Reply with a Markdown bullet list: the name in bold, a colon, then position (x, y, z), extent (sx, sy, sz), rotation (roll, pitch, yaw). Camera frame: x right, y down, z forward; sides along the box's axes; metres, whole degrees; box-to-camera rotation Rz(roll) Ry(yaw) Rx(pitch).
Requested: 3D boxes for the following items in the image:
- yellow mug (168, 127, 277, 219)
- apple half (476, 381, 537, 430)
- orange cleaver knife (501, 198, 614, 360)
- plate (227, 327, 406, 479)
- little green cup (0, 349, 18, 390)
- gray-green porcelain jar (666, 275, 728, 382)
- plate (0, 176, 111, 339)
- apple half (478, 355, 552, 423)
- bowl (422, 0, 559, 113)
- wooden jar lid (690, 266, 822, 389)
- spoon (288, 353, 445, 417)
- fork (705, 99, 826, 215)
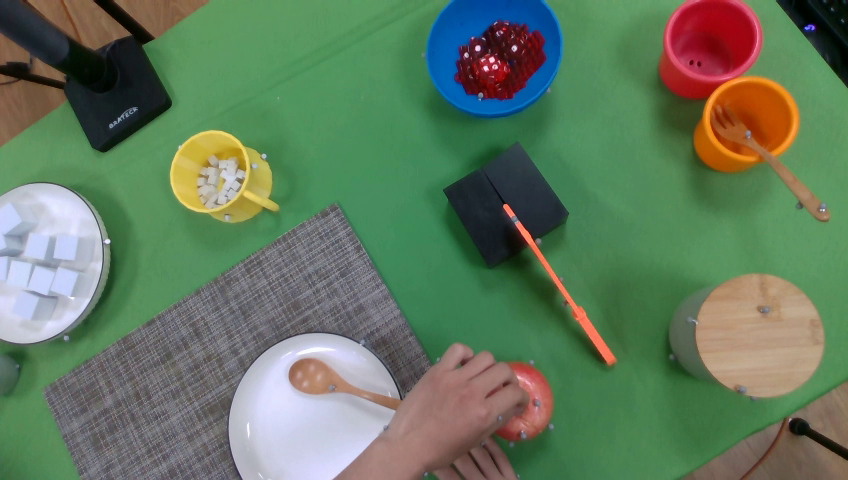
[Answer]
- **yellow mug**: position (-0.235, -0.073, 0.736), extent (0.130, 0.064, 0.100), rotation (29, 88, 10)
- **apple half**: position (0.085, 0.182, 0.648), extent (0.081, 0.081, 0.033), rotation (28, 91, 12)
- **orange cleaver knife**: position (0.144, 0.043, 0.648), extent (0.012, 0.076, 0.213), rotation (-34, 111, 7)
- **plate**: position (-0.121, 0.203, 0.694), extent (0.209, 0.038, 0.208), rotation (-1, 83, 9)
- **little green cup**: position (-0.554, 0.167, 0.771), extent (0.061, 0.039, 0.061), rotation (-1, 83, 7)
- **gray-green porcelain jar**: position (0.303, 0.086, 0.599), extent (0.105, 0.127, 0.105), rotation (-1, 82, 9)
- **plate**: position (-0.494, 0.022, 0.780), extent (0.207, 0.039, 0.207), rotation (-1, 83, 9)
- **apple half**: position (0.104, 0.153, 0.651), extent (0.080, 0.075, 0.053), rotation (30, 83, 16)
- **bowl**: position (0.077, -0.210, 0.696), extent (0.151, 0.077, 0.151), rotation (-1, 83, 9)
- **wooden jar lid**: position (0.292, 0.077, 0.539), extent (0.108, 0.021, 0.108), rotation (-1, 85, 8)
- **spoon**: position (-0.067, 0.167, 0.677), extent (0.192, 0.022, 0.041), rotation (12, 72, 23)
- **fork**: position (0.335, -0.089, 0.603), extent (0.028, 0.019, 0.205), rotation (-14, 37, 4)
